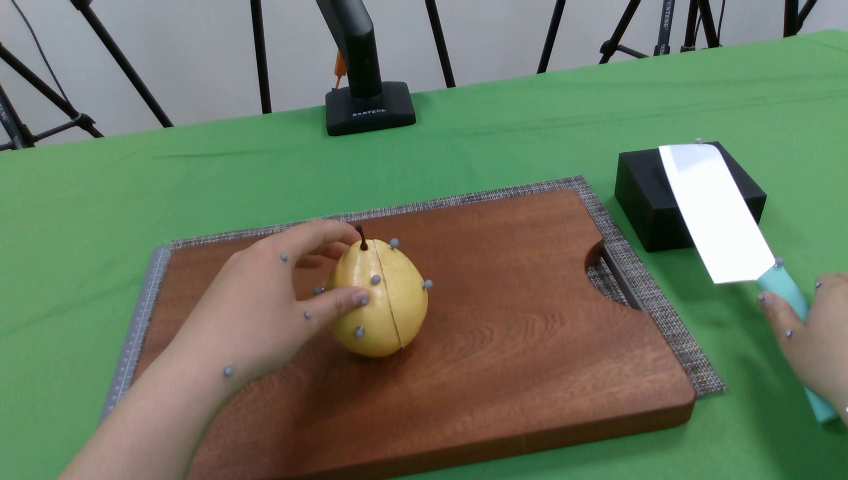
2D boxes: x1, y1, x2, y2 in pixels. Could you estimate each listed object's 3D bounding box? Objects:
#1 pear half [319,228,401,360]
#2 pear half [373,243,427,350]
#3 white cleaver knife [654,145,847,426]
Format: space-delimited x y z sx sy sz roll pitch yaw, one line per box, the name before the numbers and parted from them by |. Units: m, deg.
pear half | -0.051 0.038 0.440 0.056 0.111 0.075 -15 35 -9
pear half | -0.015 0.038 0.450 0.031 0.089 0.069 -14 31 -9
white cleaver knife | 0.258 0.018 0.499 0.066 0.022 0.283 -9 49 3
